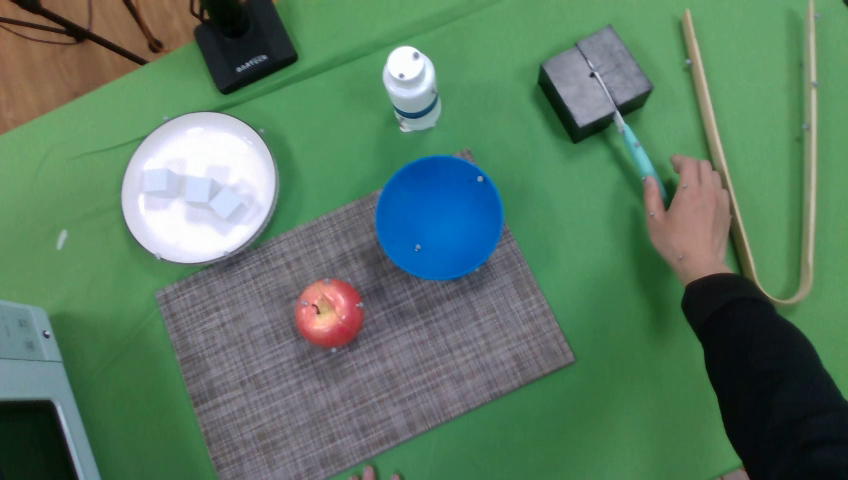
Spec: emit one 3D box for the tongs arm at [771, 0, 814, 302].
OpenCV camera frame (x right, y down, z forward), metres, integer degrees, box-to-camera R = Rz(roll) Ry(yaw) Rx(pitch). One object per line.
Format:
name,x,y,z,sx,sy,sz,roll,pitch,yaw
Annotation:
tongs arm,0.447,-0.116,0.737,0.050,0.026,0.383,4,79,7

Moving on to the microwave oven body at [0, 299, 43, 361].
microwave oven body,-0.552,0.316,0.619,0.326,0.261,0.439,-27,77,-1

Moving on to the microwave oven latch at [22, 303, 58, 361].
microwave oven latch,-0.487,0.119,0.756,0.030,0.029,0.078,-26,77,-1

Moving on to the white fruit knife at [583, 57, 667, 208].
white fruit knife,0.244,-0.133,0.744,0.016,0.027,0.207,-28,87,-2

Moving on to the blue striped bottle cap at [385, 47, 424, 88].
blue striped bottle cap,-0.023,-0.201,0.704,0.044,0.021,0.044,-1,76,4

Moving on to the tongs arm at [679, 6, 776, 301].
tongs arm,0.366,-0.114,0.749,0.028,0.028,0.385,-9,77,1

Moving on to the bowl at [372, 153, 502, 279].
bowl,0.018,-0.021,0.732,0.151,0.077,0.150,-1,78,6

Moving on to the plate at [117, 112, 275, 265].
plate,-0.294,-0.065,0.797,0.207,0.039,0.206,-1,78,5

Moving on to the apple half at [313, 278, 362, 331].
apple half,-0.095,0.071,0.725,0.033,0.081,0.081,-40,77,-1

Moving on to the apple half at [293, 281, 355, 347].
apple half,-0.125,0.096,0.723,0.053,0.075,0.080,-40,80,-1

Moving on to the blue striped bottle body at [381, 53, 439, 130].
blue striped bottle body,-0.017,-0.189,0.754,0.063,0.121,0.063,-1,77,6

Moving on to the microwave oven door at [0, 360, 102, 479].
microwave oven door,-0.403,0.286,0.607,0.039,0.245,0.354,-27,76,-1
